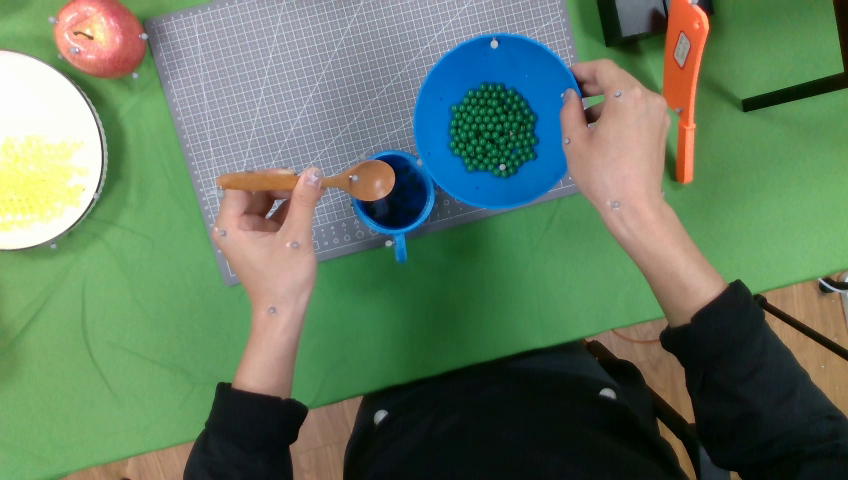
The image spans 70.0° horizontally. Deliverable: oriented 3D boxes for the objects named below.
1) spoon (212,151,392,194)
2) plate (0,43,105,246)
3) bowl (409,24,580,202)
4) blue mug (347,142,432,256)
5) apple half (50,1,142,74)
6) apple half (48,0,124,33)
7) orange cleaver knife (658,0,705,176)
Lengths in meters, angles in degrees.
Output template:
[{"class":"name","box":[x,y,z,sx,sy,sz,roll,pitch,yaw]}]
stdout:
[{"class":"spoon","box":[-0.093,-0.056,0.513,0.021,0.194,0.042,24,109,29]},{"class":"plate","box":[-0.441,-0.098,0.638,0.209,0.038,0.209,0,97,-3]},{"class":"bowl","box":[0.068,-0.114,0.558,0.151,0.077,0.152,3,102,14]},{"class":"blue mug","box":[-0.034,-0.041,0.636,0.082,0.105,0.116,-7,96,-3]},{"class":"apple half","box":[-0.325,-0.199,0.618,0.081,0.074,0.053,-30,101,-4]},{"class":"apple half","box":[-0.344,-0.232,0.611,0.081,0.081,0.033,-30,102,0]},{"class":"orange cleaver knife","box":[0.273,-0.169,0.654,0.012,0.076,0.213,-16,128,-2]}]
